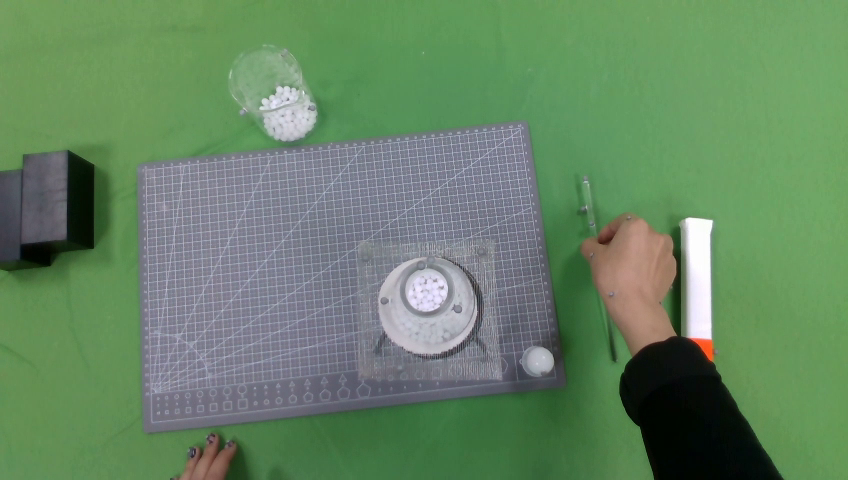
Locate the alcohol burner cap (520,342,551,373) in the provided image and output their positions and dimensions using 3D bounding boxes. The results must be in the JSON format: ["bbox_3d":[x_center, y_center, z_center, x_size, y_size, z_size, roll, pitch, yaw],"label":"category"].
[{"bbox_3d":[0.117,0.121,0.625,0.034,0.048,0.033,-1,79,4],"label":"alcohol burner cap"}]

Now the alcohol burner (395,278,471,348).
[{"bbox_3d":[0.008,0.074,0.600,0.078,0.119,0.077,-1,79,4],"label":"alcohol burner"}]

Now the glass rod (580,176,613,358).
[{"bbox_3d":[0.186,0.027,0.656,0.008,0.008,0.199,-7,81,0],"label":"glass rod"}]

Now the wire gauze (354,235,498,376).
[{"bbox_3d":[0.001,0.057,0.526,0.125,0.011,0.121,0,82,0],"label":"wire gauze"}]

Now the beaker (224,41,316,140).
[{"bbox_3d":[-0.159,-0.155,0.658,0.084,0.100,0.074,29,82,6],"label":"beaker"}]

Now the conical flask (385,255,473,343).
[{"bbox_3d":[0.002,0.042,0.469,0.075,0.122,0.075,0,81,2],"label":"conical flask"}]

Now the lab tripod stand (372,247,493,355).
[{"bbox_3d":[0.006,0.070,0.591,0.148,0.132,0.148,0,81,2],"label":"lab tripod stand"}]

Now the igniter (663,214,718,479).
[{"bbox_3d":[0.278,0.109,0.632,0.057,0.025,0.275,6,79,-8],"label":"igniter"}]
